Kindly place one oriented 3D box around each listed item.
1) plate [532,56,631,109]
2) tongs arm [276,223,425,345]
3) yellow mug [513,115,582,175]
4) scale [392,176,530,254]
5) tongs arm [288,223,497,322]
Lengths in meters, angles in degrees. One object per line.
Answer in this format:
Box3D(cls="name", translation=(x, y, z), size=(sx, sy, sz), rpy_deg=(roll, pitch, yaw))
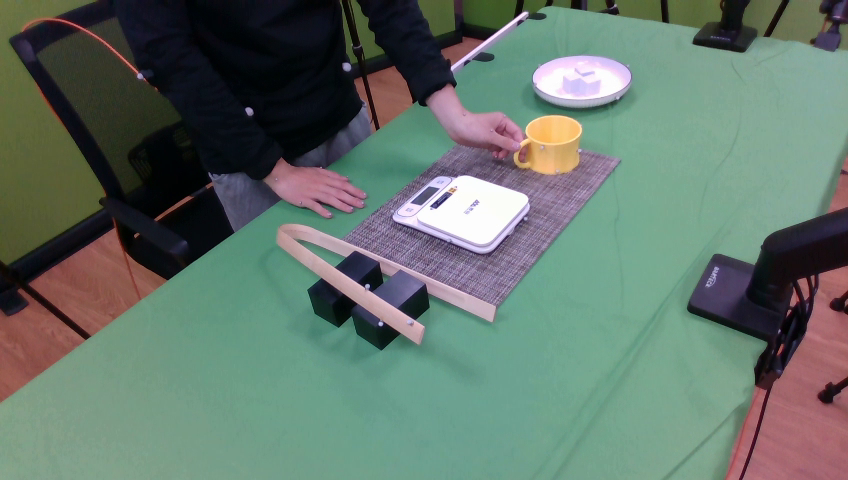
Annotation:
Box3D(cls="plate", translation=(0.336, -0.336, 1.301), size=(0.207, 0.039, 0.206), rpy_deg=(-4, 41, 4))
Box3D(cls="tongs arm", translation=(-0.114, 0.049, 0.856), size=(0.051, 0.026, 0.381), rpy_deg=(-7, 25, -43))
Box3D(cls="yellow mug", translation=(0.220, -0.168, 1.094), size=(0.131, 0.064, 0.099), rpy_deg=(-21, 42, -14))
Box3D(cls="scale", translation=(0.060, -0.050, 1.006), size=(0.199, 0.032, 0.149), rpy_deg=(22, 48, 30))
Box3D(cls="tongs arm", translation=(-0.060, 0.042, 0.918), size=(0.384, 0.028, 0.028), rpy_deg=(21, 24, 29))
